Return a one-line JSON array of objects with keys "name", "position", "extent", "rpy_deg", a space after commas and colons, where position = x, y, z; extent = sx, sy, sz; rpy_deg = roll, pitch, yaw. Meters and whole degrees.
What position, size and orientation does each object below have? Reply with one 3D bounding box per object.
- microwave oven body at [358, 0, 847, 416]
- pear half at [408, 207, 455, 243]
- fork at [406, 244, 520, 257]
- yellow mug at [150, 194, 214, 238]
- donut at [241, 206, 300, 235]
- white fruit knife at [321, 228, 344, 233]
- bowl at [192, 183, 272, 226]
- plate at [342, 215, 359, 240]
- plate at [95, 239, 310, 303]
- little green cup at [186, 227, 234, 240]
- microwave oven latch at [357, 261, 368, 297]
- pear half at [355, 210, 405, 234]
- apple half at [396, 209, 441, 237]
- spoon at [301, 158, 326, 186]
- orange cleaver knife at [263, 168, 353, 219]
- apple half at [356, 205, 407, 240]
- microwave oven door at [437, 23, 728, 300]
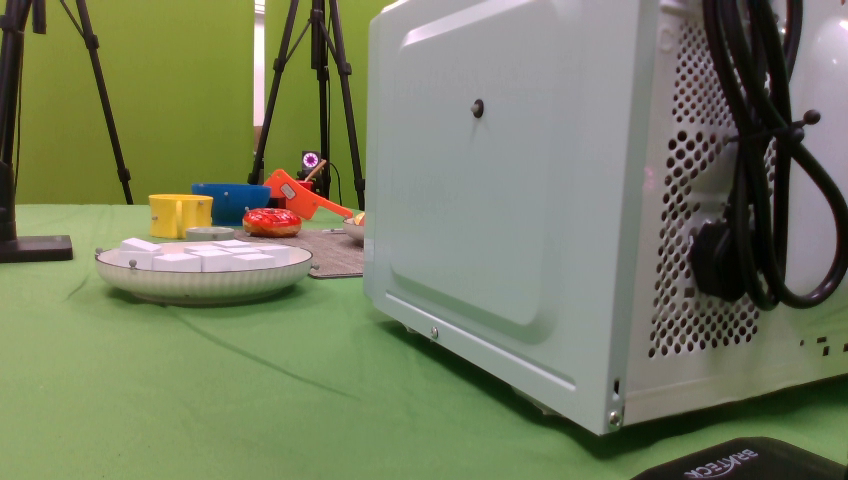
[{"name": "microwave oven body", "position": [0.211, -0.047, 0.474], "extent": [0.444, 0.260, 0.324], "rpy_deg": [-1, 7, -28]}, {"name": "pear half", "position": [0.018, -0.026, 1.000], "extent": [0.076, 0.056, 0.110], "rpy_deg": [10, 7, 19]}, {"name": "fork", "position": [0.064, 0.016, 0.893], "extent": [0.208, 0.018, 0.028], "rpy_deg": [-3, 0, -35]}, {"name": "yellow mug", "position": [-0.401, -0.040, 1.003], "extent": [0.100, 0.064, 0.130], "rpy_deg": [-1, 9, -20]}, {"name": "donut", "position": [-0.263, -0.032, 1.039], "extent": [0.099, 0.048, 0.099], "rpy_deg": [4, 9, 0]}, {"name": "white fruit knife", "position": [-0.097, -0.022, 1.142], "extent": [0.208, 0.016, 0.027], "rpy_deg": [-4, -21, -32]}, {"name": "bowl", "position": [-0.381, -0.071, 1.202], "extent": [0.151, 0.077, 0.151], "rpy_deg": [3, 7, 0]}, {"name": "plate", "position": [-0.033, -0.014, 1.005], "extent": [0.209, 0.038, 0.209], "rpy_deg": [2, 8, 0]}, {"name": "plate", "position": [-0.224, 0.031, 0.629], "extent": [0.208, 0.039, 0.207], "rpy_deg": [2, 7, 0]}, {"name": "little green cup", "position": [-0.284, 0.005, 0.805], "extent": [0.061, 0.038, 0.061], "rpy_deg": [2, 8, 0]}, {"name": "microwave oven latch", "position": [-0.019, 0.033, 0.531], "extent": [0.079, 0.029, 0.030], "rpy_deg": [-1, 7, -27]}, {"name": "pear half", "position": [-0.075, -0.035, 1.045], "extent": [0.088, 0.031, 0.070], "rpy_deg": [4, 27, -8]}, {"name": "apple half", "position": [-0.008, -0.036, 1.053], "extent": [0.081, 0.033, 0.081], "rpy_deg": [13, 26, -6]}, {"name": "spoon", "position": [-0.320, -0.160, 1.646], "extent": [0.041, 0.022, 0.194], "rpy_deg": [8, 53, 33]}, {"name": "orange cleaver knife", "position": [-0.262, -0.088, 1.352], "extent": [0.211, 0.077, 0.012], "rpy_deg": [28, 13, 0]}, {"name": "apple half", "position": [-0.065, -0.029, 0.970], "extent": [0.081, 0.053, 0.074], "rpy_deg": [3, 7, -26]}, {"name": "microwave oven door", "position": [0.181, -0.072, 0.621], "extent": [0.358, 0.243, 0.039], "rpy_deg": [-2, 8, -29]}]
